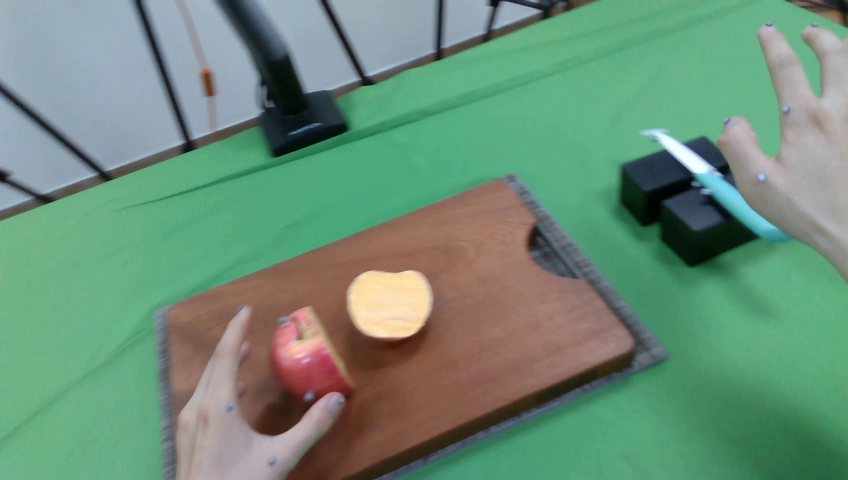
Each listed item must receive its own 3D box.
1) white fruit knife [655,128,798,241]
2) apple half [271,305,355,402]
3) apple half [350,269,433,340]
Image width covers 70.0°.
[{"bbox_3d":[0.285,-0.063,0.598,0.027,0.016,0.205,-9,38,-11],"label":"white fruit knife"},{"bbox_3d":[-0.099,0.104,0.517,0.053,0.075,0.080,-31,50,-9],"label":"apple half"},{"bbox_3d":[-0.031,0.064,0.567,0.081,0.033,0.080,0,55,0],"label":"apple half"}]
